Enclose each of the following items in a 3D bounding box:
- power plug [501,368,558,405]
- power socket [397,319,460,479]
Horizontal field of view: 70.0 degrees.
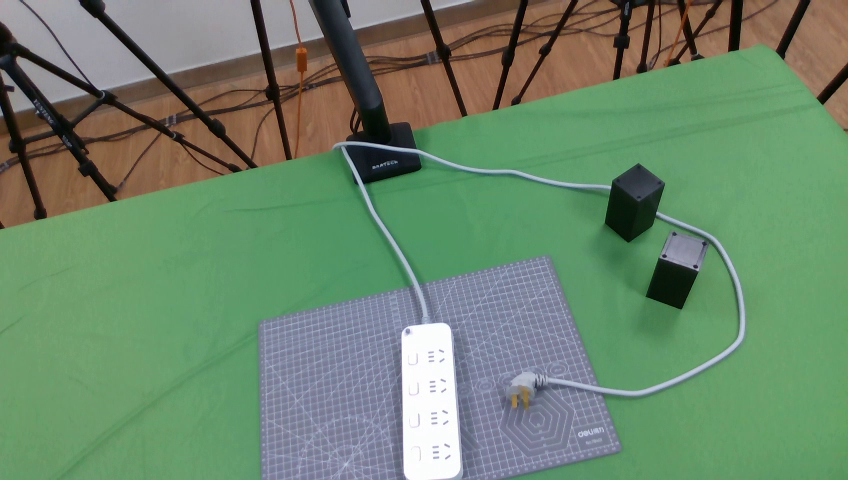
[{"bbox_3d":[0.135,0.186,0.778,0.072,0.035,0.052,-11,35,15],"label":"power plug"},{"bbox_3d":[0.003,0.204,0.792,0.072,0.033,0.224,-6,55,3],"label":"power socket"}]
